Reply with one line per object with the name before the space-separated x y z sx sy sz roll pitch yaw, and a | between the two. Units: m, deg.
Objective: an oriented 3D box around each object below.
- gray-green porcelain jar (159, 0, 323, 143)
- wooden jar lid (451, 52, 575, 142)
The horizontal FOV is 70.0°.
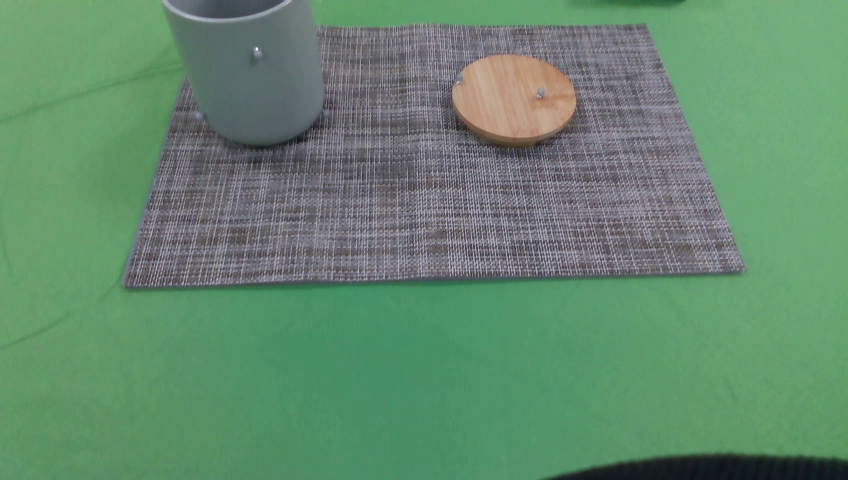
gray-green porcelain jar | -0.137 -0.149 0.480 0.106 0.127 0.105 1 54 -1
wooden jar lid | 0.077 -0.125 0.534 0.108 0.021 0.107 0 54 0
